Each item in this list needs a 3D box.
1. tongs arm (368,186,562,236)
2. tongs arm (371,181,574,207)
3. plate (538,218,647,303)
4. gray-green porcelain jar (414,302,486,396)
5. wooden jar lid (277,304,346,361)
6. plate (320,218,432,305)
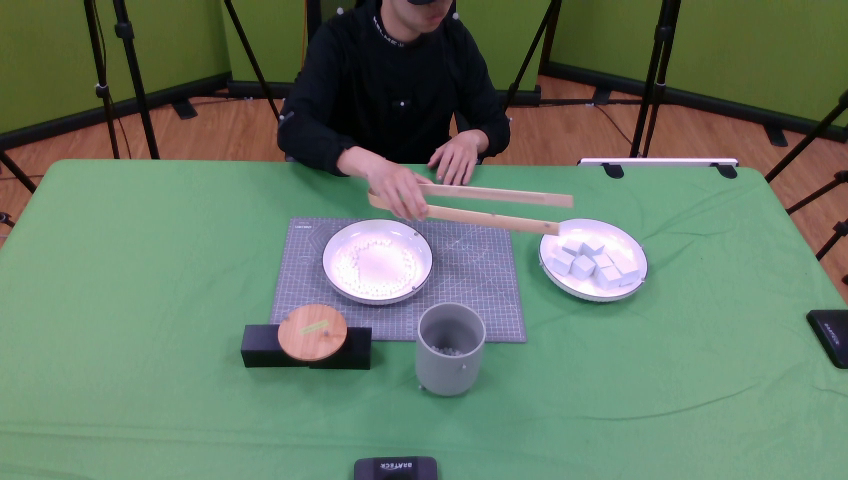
[{"bbox_3d":[0.062,-0.056,1.093,0.384,0.026,0.050,9,39,23],"label":"tongs arm"},{"bbox_3d":[0.083,-0.085,1.132,0.387,0.028,0.028,6,41,19],"label":"tongs arm"},{"bbox_3d":[0.321,0.042,1.171,0.208,0.039,0.206,2,46,-2],"label":"plate"},{"bbox_3d":[0.038,0.177,0.958,0.106,0.127,0.105,2,46,-2],"label":"gray-green porcelain jar"},{"bbox_3d":[-0.179,0.150,0.972,0.108,0.021,0.107,2,45,-2],"label":"wooden jar lid"},{"bbox_3d":[-0.088,0.044,1.134,0.209,0.038,0.208,3,46,-2],"label":"plate"}]
